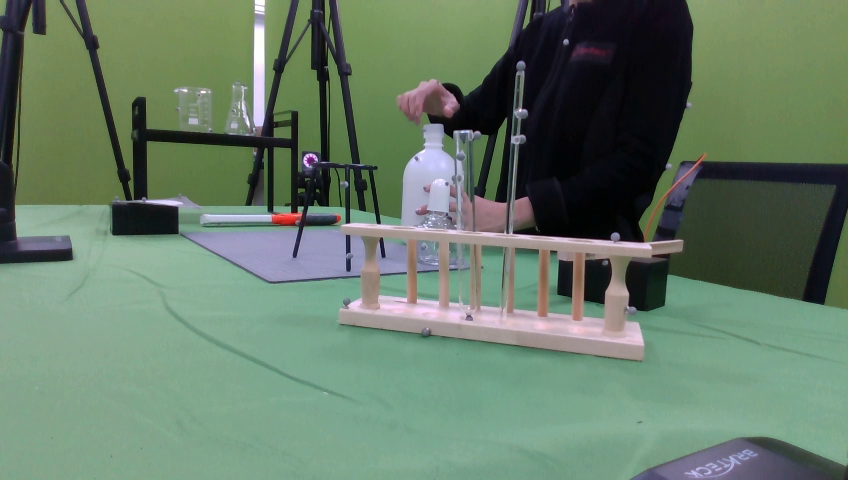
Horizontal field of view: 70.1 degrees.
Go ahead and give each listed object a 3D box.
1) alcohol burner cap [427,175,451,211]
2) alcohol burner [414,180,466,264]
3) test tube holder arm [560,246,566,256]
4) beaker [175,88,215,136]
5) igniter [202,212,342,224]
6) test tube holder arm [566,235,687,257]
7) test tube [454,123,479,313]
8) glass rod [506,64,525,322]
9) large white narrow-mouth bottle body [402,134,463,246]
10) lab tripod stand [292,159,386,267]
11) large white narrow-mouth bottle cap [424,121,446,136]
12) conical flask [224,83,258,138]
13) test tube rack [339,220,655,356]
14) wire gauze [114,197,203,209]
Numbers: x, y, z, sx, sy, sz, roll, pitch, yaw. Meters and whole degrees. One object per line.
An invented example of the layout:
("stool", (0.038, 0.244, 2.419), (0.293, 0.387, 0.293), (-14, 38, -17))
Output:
("alcohol burner cap", (0.023, -0.064, 0.822), (0.034, 0.048, 0.034), (7, 5, 0))
("alcohol burner", (0.021, -0.028, 0.826), (0.078, 0.119, 0.078), (0, 6, 0))
("test tube holder arm", (0.173, 0.007, 0.611), (0.088, 0.015, 0.010), (-3, 9, -30))
("beaker", (-0.511, -0.285, 1.353), (0.084, 0.100, 0.073), (-2, 8, -25))
("igniter", (-0.298, -0.044, 1.216), (0.278, 0.025, 0.057), (-2, -2, -33))
("test tube holder arm", (0.215, 0.006, 0.630), (0.179, 0.015, 0.013), (-3, 10, -30))
("test tube", (0.034, -0.016, 0.477), (0.017, 0.150, 0.017), (-2, 9, 1))
("glass rod", (0.069, -0.030, 0.458), (0.008, 0.199, 0.008), (0, 15, 0))
("large white narrow-mouth bottle body", (0.015, -0.092, 1.031), (0.102, 0.194, 0.102), (2, 8, 0))
("lab tripod stand", (-0.105, -0.039, 0.798), (0.148, 0.131, 0.148), (2, 5, 0))
("large white narrow-mouth bottle cap", (0.018, -0.187, 1.016), (0.038, 0.024, 0.037), (2, 8, 0))
("conical flask", (-0.422, -0.299, 1.395), (0.075, 0.122, 0.075), (2, 7, 0))
("test tube rack", (0.056, 0.032, 0.495), (0.242, 0.085, 0.067), (4, 7, 15))
("wire gauze", (-0.447, -0.062, 1.015), (0.126, 0.011, 0.121), (-2, 8, -31))
